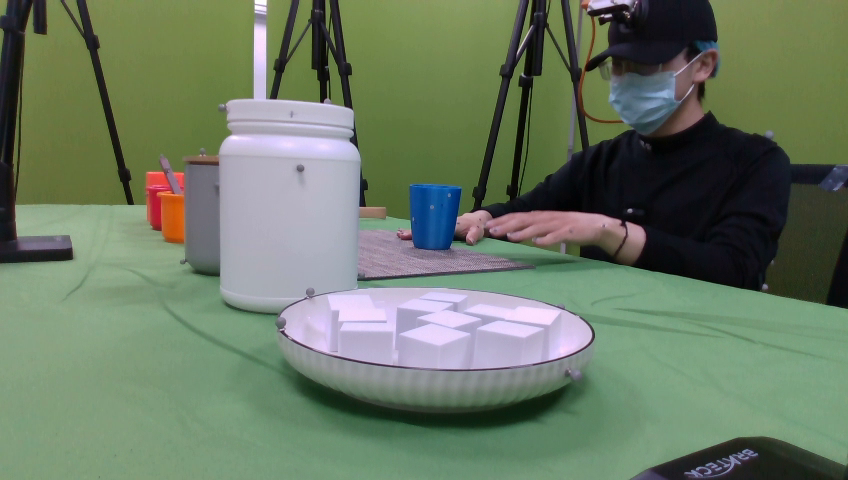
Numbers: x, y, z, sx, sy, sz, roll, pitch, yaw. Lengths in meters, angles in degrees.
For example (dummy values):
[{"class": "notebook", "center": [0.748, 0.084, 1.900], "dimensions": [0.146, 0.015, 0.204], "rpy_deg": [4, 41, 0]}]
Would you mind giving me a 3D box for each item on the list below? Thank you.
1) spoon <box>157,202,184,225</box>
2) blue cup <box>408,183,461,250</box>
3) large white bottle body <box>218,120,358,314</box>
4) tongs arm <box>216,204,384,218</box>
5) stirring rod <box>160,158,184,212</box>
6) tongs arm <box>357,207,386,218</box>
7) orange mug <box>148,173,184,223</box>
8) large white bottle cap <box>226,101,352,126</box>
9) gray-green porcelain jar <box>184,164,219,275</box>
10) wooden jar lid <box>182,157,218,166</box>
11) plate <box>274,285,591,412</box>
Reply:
[{"class": "spoon", "center": [-0.425, -0.094, 1.117], "dimensions": [0.041, 0.022, 0.194], "rpy_deg": [5, 51, 28]}, {"class": "blue cup", "center": [0.015, -0.038, 0.970], "dimensions": [0.093, 0.100, 0.092], "rpy_deg": [3, 9, 0]}, {"class": "large white bottle body", "center": [-0.128, -0.033, 0.578], "dimensions": [0.131, 0.184, 0.130], "rpy_deg": [2, 7, 0]}, {"class": "tongs arm", "center": [-0.288, -0.069, 1.435], "dimensions": [0.389, 0.027, 0.028], "rpy_deg": [0, -1, -17]}, {"class": "stirring rod", "center": [-0.390, -0.070, 0.972], "dimensions": [0.014, 0.006, 0.175], "rpy_deg": [-1, 50, -49]}, {"class": "tongs arm", "center": [-0.251, -0.063, 1.360], "dimensions": [0.387, 0.026, 0.050], "rpy_deg": [-1, 3, -31]}, {"class": "orange mug", "center": [-0.490, -0.087, 1.222], "dimensions": [0.127, 0.101, 0.083], "rpy_deg": [-9, 13, -38]}, {"class": "large white bottle cap", "center": [-0.125, -0.116, 0.566], "dimensions": [0.115, 0.018, 0.115], "rpy_deg": [2, 8, 0]}, {"class": "gray-green porcelain jar", "center": [-0.230, -0.025, 0.722], "dimensions": [0.106, 0.126, 0.106], "rpy_deg": [3, 7, 0]}, {"class": "wooden jar lid", "center": [-0.227, -0.086, 0.714], "dimensions": [0.108, 0.020, 0.108], "rpy_deg": [1, 6, 0]}, {"class": "plate", "center": [0.005, 0.069, 0.408], "dimensions": [0.208, 0.039, 0.207], "rpy_deg": [2, 7, 0]}]
